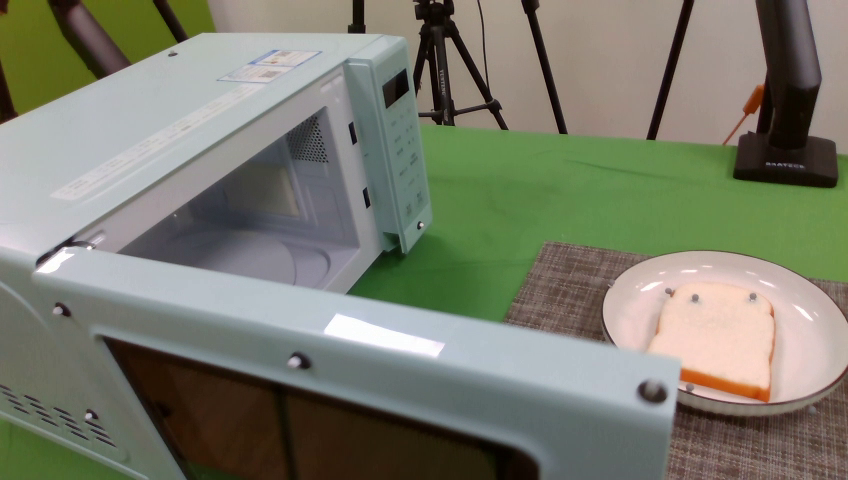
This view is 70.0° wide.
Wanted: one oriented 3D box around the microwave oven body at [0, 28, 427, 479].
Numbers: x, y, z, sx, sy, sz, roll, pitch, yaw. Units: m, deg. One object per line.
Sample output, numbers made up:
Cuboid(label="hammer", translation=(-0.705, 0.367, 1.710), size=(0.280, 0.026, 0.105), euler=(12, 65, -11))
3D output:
Cuboid(label="microwave oven body", translation=(-0.242, -0.026, 0.638), size=(0.324, 0.262, 0.440), euler=(10, 39, 25))

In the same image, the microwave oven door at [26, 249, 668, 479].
Cuboid(label="microwave oven door", translation=(-0.052, 0.129, 0.358), size=(0.354, 0.246, 0.039), euler=(8, 38, 23))

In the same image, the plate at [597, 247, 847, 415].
Cuboid(label="plate", translation=(0.267, 0.081, 0.559), size=(0.209, 0.038, 0.207), euler=(-6, 34, 5))

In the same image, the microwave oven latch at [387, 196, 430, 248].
Cuboid(label="microwave oven latch", translation=(-0.020, -0.024, 0.757), size=(0.030, 0.030, 0.079), euler=(11, 40, 26))

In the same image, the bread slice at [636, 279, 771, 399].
Cuboid(label="bread slice", translation=(0.264, 0.083, 0.562), size=(0.104, 0.019, 0.131), euler=(11, 40, 27))
